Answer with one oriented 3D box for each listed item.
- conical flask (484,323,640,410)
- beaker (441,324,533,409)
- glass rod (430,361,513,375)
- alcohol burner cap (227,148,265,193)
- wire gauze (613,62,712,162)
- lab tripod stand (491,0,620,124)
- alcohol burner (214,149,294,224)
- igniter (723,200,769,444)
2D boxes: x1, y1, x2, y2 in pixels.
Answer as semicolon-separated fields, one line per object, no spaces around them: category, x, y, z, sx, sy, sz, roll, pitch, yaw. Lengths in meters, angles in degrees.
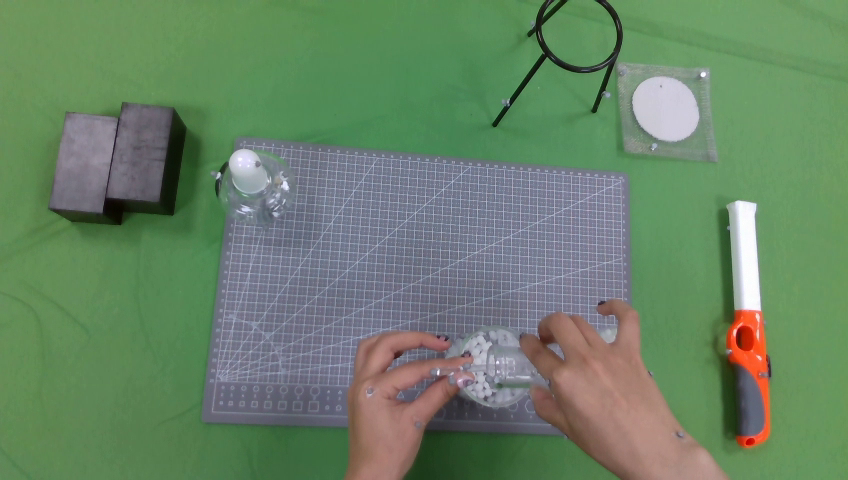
conical flask;0.115;0.108;0.521;0.122;0.075;0.075;2;78;-7
beaker;0.060;0.123;0.601;0.084;0.100;0.074;-39;86;-14
glass rod;0.048;0.112;0.530;0.008;0.201;0.008;-4;79;24
alcohol burner cap;-0.166;-0.067;0.562;0.034;0.048;0.033;3;71;-9
wire gauze;0.293;-0.159;0.740;0.125;0.011;0.121;3;79;-9
lab tripod stand;0.142;-0.193;0.661;0.149;0.131;0.148;1;80;-7
alcohol burner;-0.170;-0.058;0.597;0.078;0.119;0.077;1;78;-5
igniter;0.364;0.089;0.690;0.057;0.025;0.275;7;78;-18
